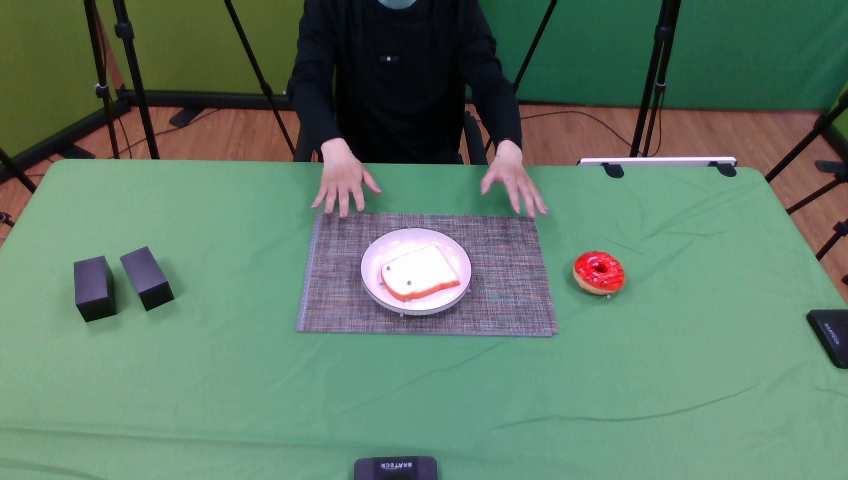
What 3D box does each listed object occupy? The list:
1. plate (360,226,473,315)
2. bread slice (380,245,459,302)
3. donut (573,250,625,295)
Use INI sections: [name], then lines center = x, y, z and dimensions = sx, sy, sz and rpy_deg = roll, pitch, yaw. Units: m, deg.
[plate]
center = -0.013, 0.059, 1.124
dimensions = 0.208, 0.039, 0.206
rpy_deg = 2, 46, -2
[bread slice]
center = -0.014, 0.063, 1.122
dimensions = 0.132, 0.019, 0.104
rpy_deg = -18, 49, -21
[donut]
center = 0.332, 0.062, 1.149
dimensions = 0.099, 0.048, 0.098
rpy_deg = 4, 45, -4
